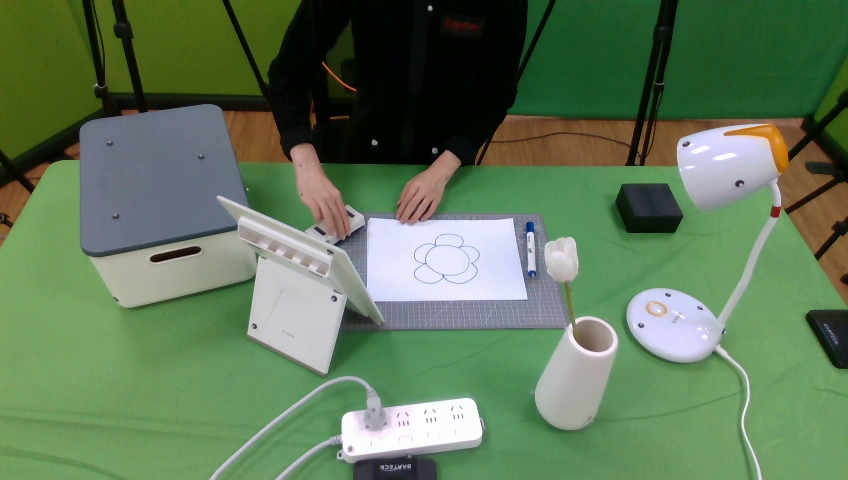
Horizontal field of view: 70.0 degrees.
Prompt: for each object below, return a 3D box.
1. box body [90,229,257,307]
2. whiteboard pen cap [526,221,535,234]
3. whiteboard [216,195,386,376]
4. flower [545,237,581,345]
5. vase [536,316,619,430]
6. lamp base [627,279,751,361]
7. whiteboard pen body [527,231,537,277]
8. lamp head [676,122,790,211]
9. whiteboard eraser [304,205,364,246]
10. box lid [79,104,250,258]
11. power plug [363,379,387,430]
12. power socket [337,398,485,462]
[{"bbox_3d":[-0.471,-0.070,1.131,0.254,0.161,0.361,-14,49,-17],"label":"box body"},{"bbox_3d":[0.216,-0.022,1.234,0.018,0.018,0.033,6,44,1],"label":"whiteboard pen cap"},{"bbox_3d":[-0.212,0.093,0.939,0.216,0.307,0.143,24,70,17],"label":"whiteboard"},{"bbox_3d":[0.213,0.137,0.846,0.038,0.364,0.044,21,55,40],"label":"flower"},{"bbox_3d":[0.229,0.200,0.901,0.098,0.201,0.097,3,46,-3],"label":"vase"},{"bbox_3d":[0.460,0.100,1.027,0.178,0.181,0.160,27,51,17],"label":"lamp base"},{"bbox_3d":[0.211,0.018,1.191,0.017,0.017,0.140,6,44,2],"label":"whiteboard pen body"},{"bbox_3d":[0.423,-0.104,0.819,0.122,0.113,0.112,-13,33,40],"label":"lamp head"},{"bbox_3d":[-0.175,-0.022,1.187,0.055,0.042,0.112,36,54,28],"label":"whiteboard eraser"},{"bbox_3d":[-0.467,-0.120,1.075,0.264,0.015,0.369,-13,49,-17],"label":"box lid"},{"bbox_3d":[-0.071,0.252,0.911,0.035,0.053,0.072,3,40,0],"label":"power plug"},{"bbox_3d":[-0.018,0.285,0.914,0.227,0.033,0.071,-4,46,-8],"label":"power socket"}]
